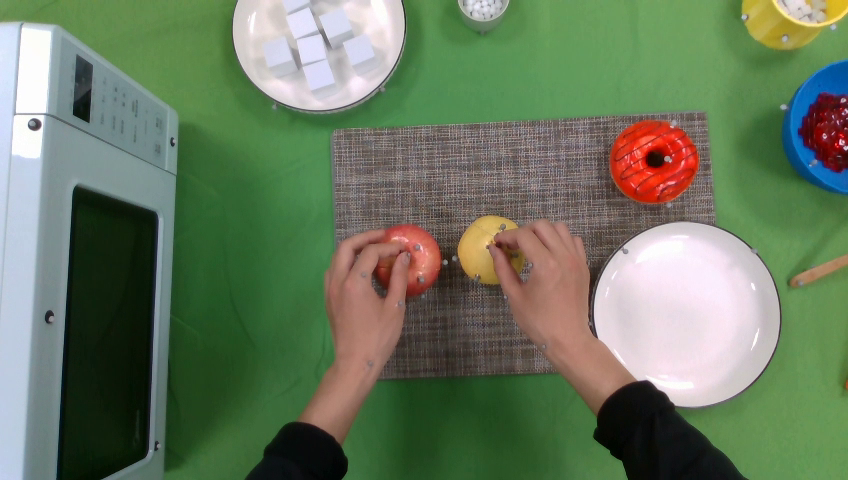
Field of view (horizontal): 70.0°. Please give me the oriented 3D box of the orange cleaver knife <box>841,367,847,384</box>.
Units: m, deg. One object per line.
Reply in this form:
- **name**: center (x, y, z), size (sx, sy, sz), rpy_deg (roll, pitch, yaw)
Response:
- **orange cleaver knife**: center (0.532, 0.073, 0.665), size (0.012, 0.077, 0.212), rpy_deg (29, 116, 2)

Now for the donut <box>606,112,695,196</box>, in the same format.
- **donut**: center (0.260, -0.099, 0.701), size (0.099, 0.048, 0.099), rpy_deg (0, 86, 5)

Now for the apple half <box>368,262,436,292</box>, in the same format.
- **apple half**: center (-0.023, 0.042, 0.680), size (0.081, 0.081, 0.032), rpy_deg (0, 83, 2)

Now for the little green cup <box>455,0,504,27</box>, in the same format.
- **little green cup**: center (0.066, -0.289, 0.728), size (0.061, 0.039, 0.061), rpy_deg (0, 85, 2)

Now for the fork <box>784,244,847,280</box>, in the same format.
- **fork**: center (0.504, -0.008, 0.670), size (0.207, 0.018, 0.028), rpy_deg (-32, 91, 19)

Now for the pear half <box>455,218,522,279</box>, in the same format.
- **pear half**: center (0.068, 0.014, 0.664), size (0.076, 0.110, 0.056), rpy_deg (28, 86, 5)

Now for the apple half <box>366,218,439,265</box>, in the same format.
- **apple half**: center (-0.023, 0.003, 0.682), size (0.080, 0.075, 0.053), rpy_deg (-1, 83, 12)

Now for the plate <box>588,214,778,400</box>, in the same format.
- **plate**: center (0.289, 0.075, 0.689), size (0.209, 0.038, 0.208), rpy_deg (0, 86, 1)

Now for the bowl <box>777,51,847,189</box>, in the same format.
- **bowl**: center (0.464, -0.126, 0.685), size (0.151, 0.077, 0.151), rpy_deg (0, 86, 2)

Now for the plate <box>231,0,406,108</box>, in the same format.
- **plate**: center (-0.124, -0.257, 0.731), size (0.207, 0.039, 0.207), rpy_deg (0, 85, 2)

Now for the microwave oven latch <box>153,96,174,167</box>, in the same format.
- **microwave oven latch**: center (-0.309, -0.126, 0.707), size (0.030, 0.029, 0.079), rpy_deg (1, 86, 1)

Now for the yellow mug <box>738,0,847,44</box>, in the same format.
- **yellow mug**: center (0.422, -0.302, 0.706), size (0.100, 0.064, 0.130), rpy_deg (-35, 84, -1)

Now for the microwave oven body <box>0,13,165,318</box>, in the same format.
- **microwave oven body**: center (-0.462, 0.041, 0.601), size (0.326, 0.260, 0.440), rpy_deg (0, 86, 1)

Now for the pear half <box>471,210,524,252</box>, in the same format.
- **pear half**: center (0.086, -0.015, 0.676), size (0.070, 0.088, 0.031), rpy_deg (26, 86, 7)

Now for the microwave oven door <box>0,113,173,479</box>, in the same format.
- **microwave oven door**: center (-0.317, 0.083, 0.588), size (0.039, 0.244, 0.355), rpy_deg (0, 85, 2)
